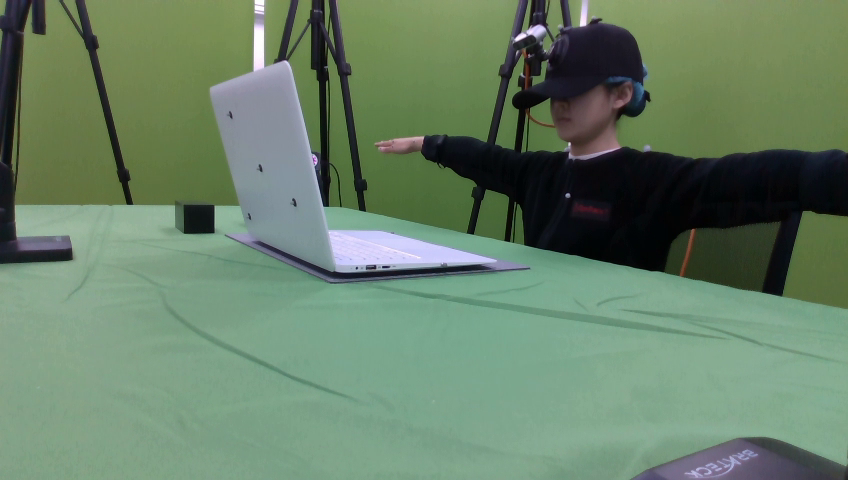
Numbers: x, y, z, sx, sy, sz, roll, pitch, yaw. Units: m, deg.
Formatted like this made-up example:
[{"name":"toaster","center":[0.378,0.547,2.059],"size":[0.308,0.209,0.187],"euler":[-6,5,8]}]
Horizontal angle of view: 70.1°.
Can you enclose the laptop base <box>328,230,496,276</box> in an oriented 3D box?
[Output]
[{"name":"laptop base","center":[-0.091,0.016,0.884],"size":[0.237,0.023,0.352],"euler":[2,6,-32]}]

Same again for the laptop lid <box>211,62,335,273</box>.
[{"name":"laptop lid","center":[-0.211,-0.095,0.791],"size":[0.013,0.241,0.355],"euler":[-18,18,-29]}]

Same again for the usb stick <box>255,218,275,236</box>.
[{"name":"usb stick","center":[-0.262,-0.021,1.003],"size":[0.021,0.027,0.059],"euler":[0,10,-32]}]
